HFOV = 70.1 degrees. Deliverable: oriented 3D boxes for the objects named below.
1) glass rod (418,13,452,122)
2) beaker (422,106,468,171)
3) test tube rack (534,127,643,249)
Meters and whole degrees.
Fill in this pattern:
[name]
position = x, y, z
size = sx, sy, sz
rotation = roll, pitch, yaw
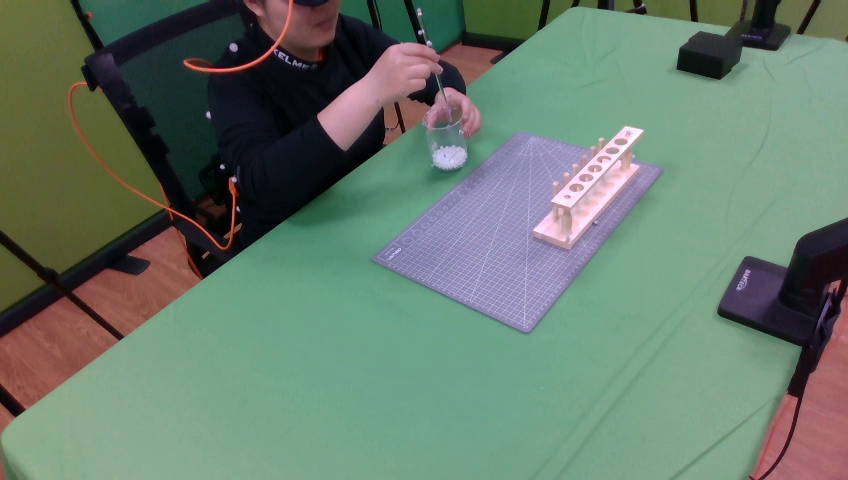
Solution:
[glass rod]
position = 0.019, -0.277, 0.993
size = 0.008, 0.201, 0.008
rotation = -11, 42, 11
[beaker]
position = 0.043, -0.188, 1.120
size = 0.073, 0.101, 0.084
rotation = 7, 46, 20
[test tube rack]
position = 0.272, -0.094, 0.990
size = 0.066, 0.085, 0.243
rotation = 24, 50, 33
